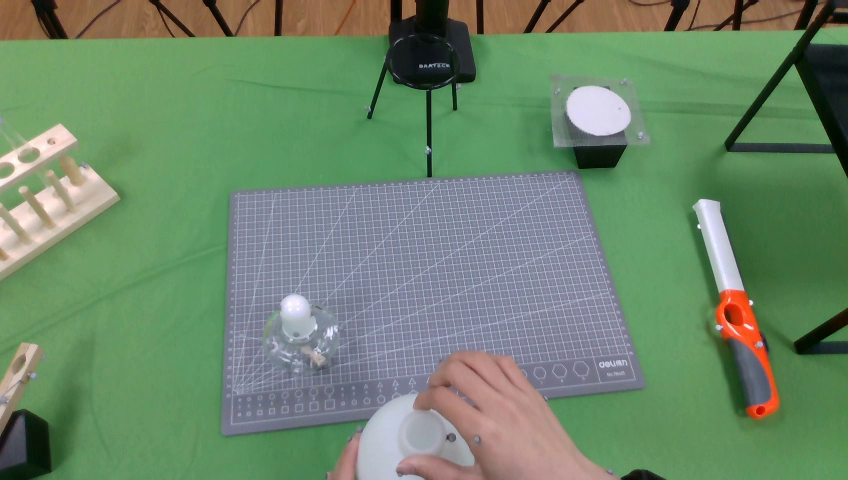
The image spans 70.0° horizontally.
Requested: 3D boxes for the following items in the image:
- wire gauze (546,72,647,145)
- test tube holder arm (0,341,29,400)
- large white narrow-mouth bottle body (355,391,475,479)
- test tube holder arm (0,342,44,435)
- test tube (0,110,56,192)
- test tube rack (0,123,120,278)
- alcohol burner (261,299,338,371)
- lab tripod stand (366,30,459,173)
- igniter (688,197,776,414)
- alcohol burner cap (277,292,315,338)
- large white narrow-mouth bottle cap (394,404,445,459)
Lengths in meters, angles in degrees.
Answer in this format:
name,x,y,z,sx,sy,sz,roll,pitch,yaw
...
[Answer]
name,x,y,z,sx,sy,sz,roll,pitch,yaw
wire gauze,0.223,-0.173,0.798,0.121,0.011,0.124,2,59,-3
test tube holder arm,-0.387,0.137,0.562,0.010,0.015,0.087,5,60,5
large white narrow-mouth bottle body,-0.009,0.186,0.519,0.102,0.196,0.101,2,59,-3
test tube holder arm,-0.388,0.176,0.539,0.013,0.015,0.177,6,60,6
test tube,-0.434,-0.099,0.652,0.017,0.151,0.017,1,58,-1
test tube rack,-0.471,-0.017,0.659,0.066,0.086,0.242,40,64,17
alcohol burner,-0.126,0.088,0.609,0.078,0.120,0.077,3,58,-5
lab tripod stand,-0.005,-0.180,0.766,0.148,0.132,0.147,3,60,-5
igniter,0.361,0.068,0.716,0.057,0.025,0.274,7,59,-13
alcohol burner cap,-0.124,0.070,0.578,0.034,0.048,0.033,1,55,-1
large white narrow-mouth bottle cap,-0.003,0.141,0.446,0.038,0.024,0.037,2,59,-3
